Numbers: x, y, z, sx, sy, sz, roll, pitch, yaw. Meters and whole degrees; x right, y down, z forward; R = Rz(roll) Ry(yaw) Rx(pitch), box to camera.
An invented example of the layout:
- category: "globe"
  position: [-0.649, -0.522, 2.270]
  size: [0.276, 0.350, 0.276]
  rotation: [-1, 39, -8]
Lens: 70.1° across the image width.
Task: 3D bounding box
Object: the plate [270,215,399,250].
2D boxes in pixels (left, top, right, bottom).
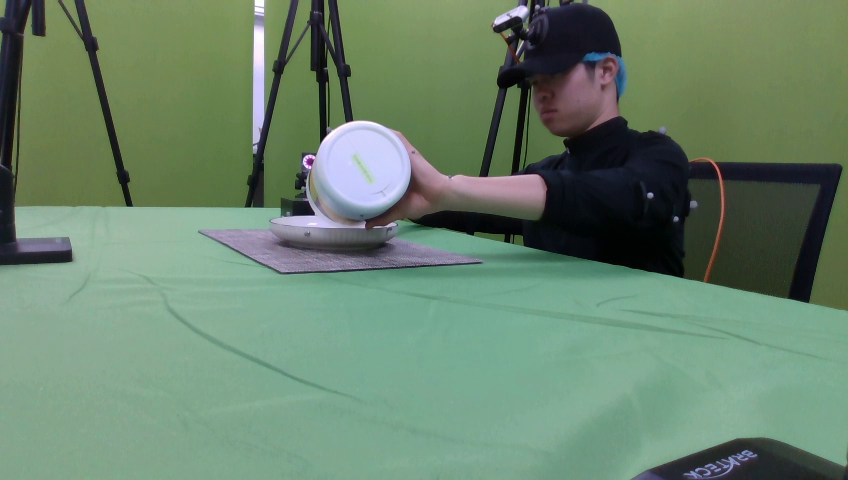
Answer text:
- category: "plate"
  position: [-0.145, -0.013, 0.992]
  size: [0.208, 0.039, 0.207]
  rotation: [2, 7, 0]

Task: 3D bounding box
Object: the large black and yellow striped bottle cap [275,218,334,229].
- category: "large black and yellow striped bottle cap"
  position: [-0.236, -0.033, 1.197]
  size: [0.115, 0.019, 0.115]
  rotation: [1, 3, 0]

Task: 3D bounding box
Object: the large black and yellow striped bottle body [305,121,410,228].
- category: "large black and yellow striped bottle body"
  position: [-0.105, -0.087, 0.894]
  size: [0.131, 0.130, 0.183]
  rotation: [0, -8, -17]
